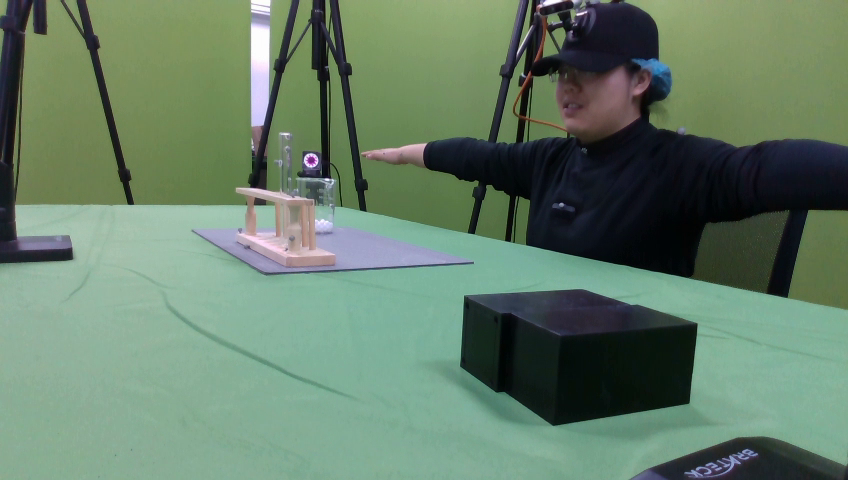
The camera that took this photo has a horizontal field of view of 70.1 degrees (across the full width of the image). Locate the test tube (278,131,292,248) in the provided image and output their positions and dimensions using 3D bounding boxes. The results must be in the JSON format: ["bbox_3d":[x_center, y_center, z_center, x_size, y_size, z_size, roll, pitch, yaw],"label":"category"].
[{"bbox_3d":[-0.178,-0.063,0.776,0.017,0.150,0.017,2,11,0],"label":"test tube"}]

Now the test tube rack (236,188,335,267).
[{"bbox_3d":[-0.202,-0.025,0.855,0.067,0.085,0.241,-2,9,-31],"label":"test tube rack"}]

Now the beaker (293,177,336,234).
[{"bbox_3d":[-0.197,-0.063,1.107,0.083,0.100,0.074,10,11,40],"label":"beaker"}]
